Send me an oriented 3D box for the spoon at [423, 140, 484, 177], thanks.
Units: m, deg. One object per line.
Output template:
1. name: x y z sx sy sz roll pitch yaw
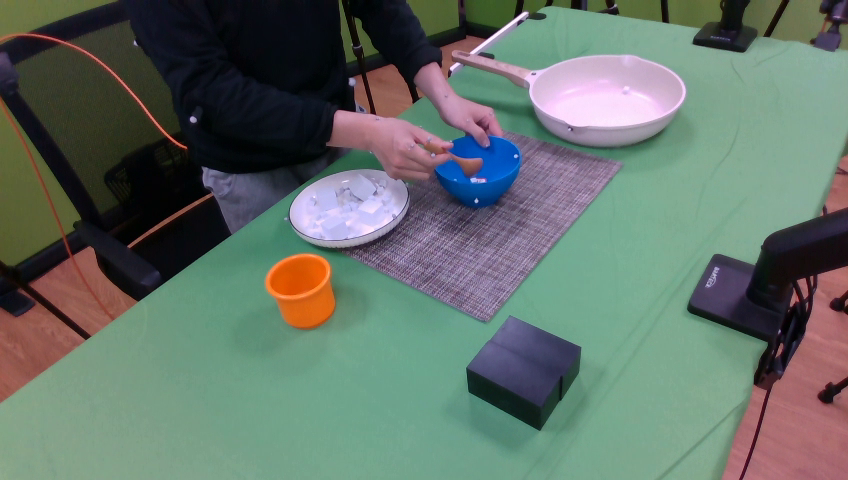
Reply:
1. spoon: 0.045 -0.126 0.924 0.041 0.195 0.021 -51 62 16

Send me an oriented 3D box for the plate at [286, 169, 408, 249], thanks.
1. plate: -0.127 -0.050 1.028 0.207 0.039 0.206 -5 39 5

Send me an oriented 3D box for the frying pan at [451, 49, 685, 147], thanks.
1. frying pan: 0.269 -0.316 1.233 0.485 0.103 0.307 26 49 21

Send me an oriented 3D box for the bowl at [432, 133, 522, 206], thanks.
1. bowl: 0.092 -0.110 1.034 0.151 0.077 0.150 -4 40 4
